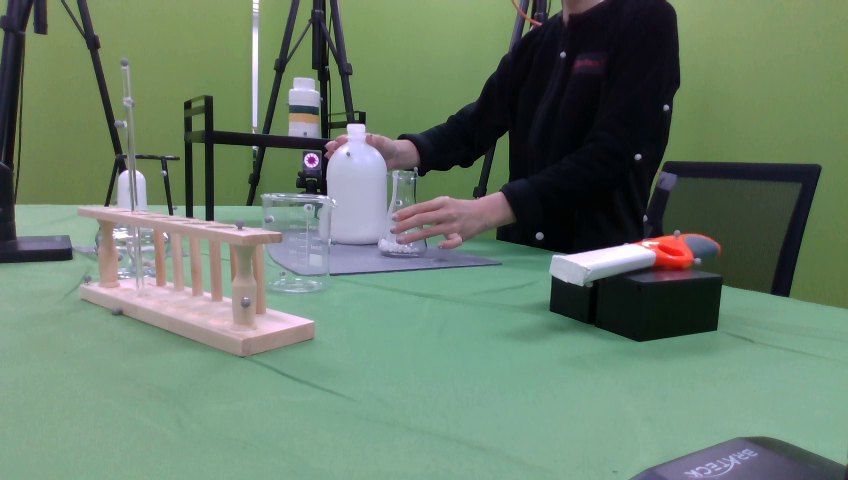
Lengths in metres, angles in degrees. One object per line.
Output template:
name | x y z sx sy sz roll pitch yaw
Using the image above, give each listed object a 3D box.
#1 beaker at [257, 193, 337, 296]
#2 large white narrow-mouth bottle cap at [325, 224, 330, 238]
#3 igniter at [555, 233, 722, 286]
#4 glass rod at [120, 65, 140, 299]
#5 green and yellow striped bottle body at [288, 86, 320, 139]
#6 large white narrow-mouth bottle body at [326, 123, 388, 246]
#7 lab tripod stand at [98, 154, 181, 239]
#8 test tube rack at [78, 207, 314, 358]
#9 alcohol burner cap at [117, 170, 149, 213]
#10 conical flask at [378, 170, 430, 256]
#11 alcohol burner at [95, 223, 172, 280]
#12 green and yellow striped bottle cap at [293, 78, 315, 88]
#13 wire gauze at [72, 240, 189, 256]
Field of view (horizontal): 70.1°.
beaker | -0.130 0.003 0.628 0.084 0.100 0.074 5 8 15
large white narrow-mouth bottle cap | -0.160 -0.016 1.090 0.038 0.024 0.037 3 9 0
igniter | 0.214 0.015 0.570 0.278 0.025 0.057 -6 22 -45
glass rod | -0.249 -0.047 0.513 0.008 0.199 0.008 -1 4 0
green and yellow striped bottle body | -0.250 -0.272 1.261 0.063 0.119 0.063 3 7 0
large white narrow-mouth bottle body | -0.109 -0.093 0.993 0.102 0.194 0.101 0 11 0
lab tripod stand | -0.427 -0.066 0.942 0.148 0.131 0.148 1 6 0
test tube rack | -0.196 0.024 0.499 0.241 0.085 0.067 8 8 37
alcohol burner cap | -0.320 -0.052 0.661 0.034 0.048 0.034 -3 0 0
conical flask | -0.028 -0.039 0.879 0.075 0.122 0.075 1 3 0
alcohol burner | -0.320 -0.017 0.667 0.078 0.119 0.078 0 7 0
green and yellow striped bottle cap | -0.248 -0.324 1.256 0.045 0.020 0.045 4 8 0
wire gauze | -0.399 0.013 0.820 0.126 0.011 0.121 -3 8 -37
